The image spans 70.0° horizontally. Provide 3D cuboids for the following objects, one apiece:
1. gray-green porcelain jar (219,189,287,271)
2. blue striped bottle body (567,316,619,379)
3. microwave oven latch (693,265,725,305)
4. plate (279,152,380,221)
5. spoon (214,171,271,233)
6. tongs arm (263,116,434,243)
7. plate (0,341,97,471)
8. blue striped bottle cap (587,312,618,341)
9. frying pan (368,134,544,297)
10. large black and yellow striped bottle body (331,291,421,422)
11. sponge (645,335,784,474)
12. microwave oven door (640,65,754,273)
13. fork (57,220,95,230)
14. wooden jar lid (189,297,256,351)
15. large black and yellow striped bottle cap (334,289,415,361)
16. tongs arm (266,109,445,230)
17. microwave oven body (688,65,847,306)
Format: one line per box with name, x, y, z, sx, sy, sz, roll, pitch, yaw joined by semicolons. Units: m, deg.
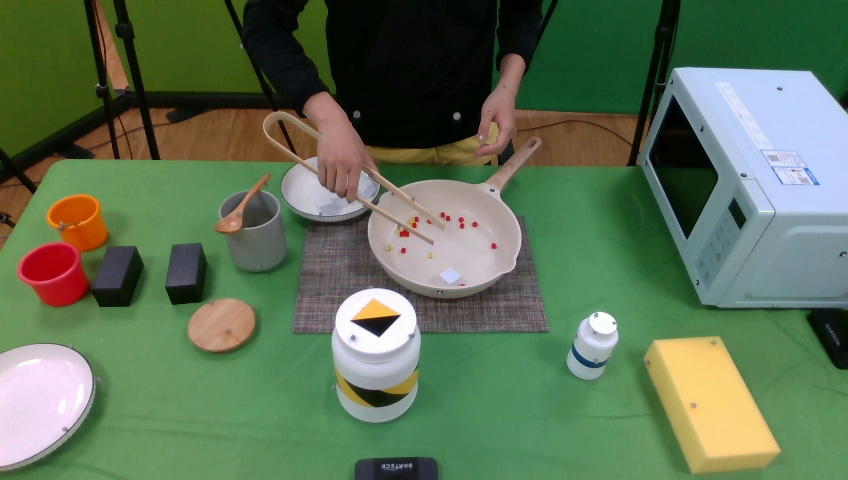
gray-green porcelain jar;-0.310;-0.014;1.114;0.106;0.127;0.105;2;46;-2
blue striped bottle body;0.276;0.168;0.984;0.063;0.121;0.062;2;46;-2
microwave oven latch;0.523;0.081;1.116;0.030;0.029;0.078;2;46;-1
plate;-0.196;-0.107;1.269;0.208;0.039;0.206;2;45;-2
spoon;-0.312;-0.070;1.070;0.041;0.022;0.193;10;43;9
tongs arm;-0.140;-0.106;1.075;0.387;0.028;0.028;34;78;10
plate;-0.599;0.247;0.904;0.209;0.038;0.208;2;47;-2
blue striped bottle cap;0.279;0.134;0.946;0.044;0.021;0.044;2;45;-2
frying pan;0.104;-0.069;1.205;0.305;0.103;0.487;32;61;23
large black and yellow striped bottle body;-0.071;0.175;0.911;0.131;0.185;0.130;2;47;-2
sponge;0.449;0.253;0.956;0.118;0.061;0.205;-4;46;-7
microwave oven door;0.522;-0.147;1.193;0.039;0.245;0.353;0;47;-3
fork;-0.624;-0.027;1.086;0.028;0.207;0.018;-3;91;-17
wooden jar lid;-0.342;0.145;1.033;0.108;0.021;0.107;2;45;-2
large black and yellow striped bottle cap;-0.069;0.117;0.850;0.115;0.019;0.114;2;45;-2
tongs arm;-0.127;-0.124;1.082;0.384;0.026;0.050;38;75;12
microwave oven body;0.669;-0.111;1.176;0.326;0.261;0.439;0;46;-3
